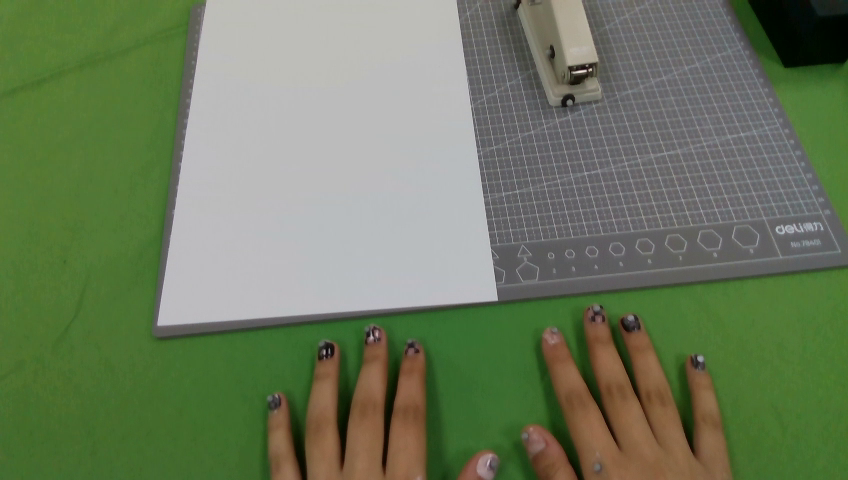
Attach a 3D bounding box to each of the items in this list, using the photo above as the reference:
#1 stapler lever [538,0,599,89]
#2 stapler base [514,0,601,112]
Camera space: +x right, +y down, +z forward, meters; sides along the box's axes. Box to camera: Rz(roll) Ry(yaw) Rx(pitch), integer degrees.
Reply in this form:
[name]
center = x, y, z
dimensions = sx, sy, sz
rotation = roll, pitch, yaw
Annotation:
[stapler lever]
center = 0.105, -0.169, 0.457
dimensions = 0.027, 0.040, 0.117
rotation = -10, 63, -2
[stapler base]
center = 0.105, -0.158, 0.479
dimensions = 0.041, 0.024, 0.129
rotation = -10, 63, -2
